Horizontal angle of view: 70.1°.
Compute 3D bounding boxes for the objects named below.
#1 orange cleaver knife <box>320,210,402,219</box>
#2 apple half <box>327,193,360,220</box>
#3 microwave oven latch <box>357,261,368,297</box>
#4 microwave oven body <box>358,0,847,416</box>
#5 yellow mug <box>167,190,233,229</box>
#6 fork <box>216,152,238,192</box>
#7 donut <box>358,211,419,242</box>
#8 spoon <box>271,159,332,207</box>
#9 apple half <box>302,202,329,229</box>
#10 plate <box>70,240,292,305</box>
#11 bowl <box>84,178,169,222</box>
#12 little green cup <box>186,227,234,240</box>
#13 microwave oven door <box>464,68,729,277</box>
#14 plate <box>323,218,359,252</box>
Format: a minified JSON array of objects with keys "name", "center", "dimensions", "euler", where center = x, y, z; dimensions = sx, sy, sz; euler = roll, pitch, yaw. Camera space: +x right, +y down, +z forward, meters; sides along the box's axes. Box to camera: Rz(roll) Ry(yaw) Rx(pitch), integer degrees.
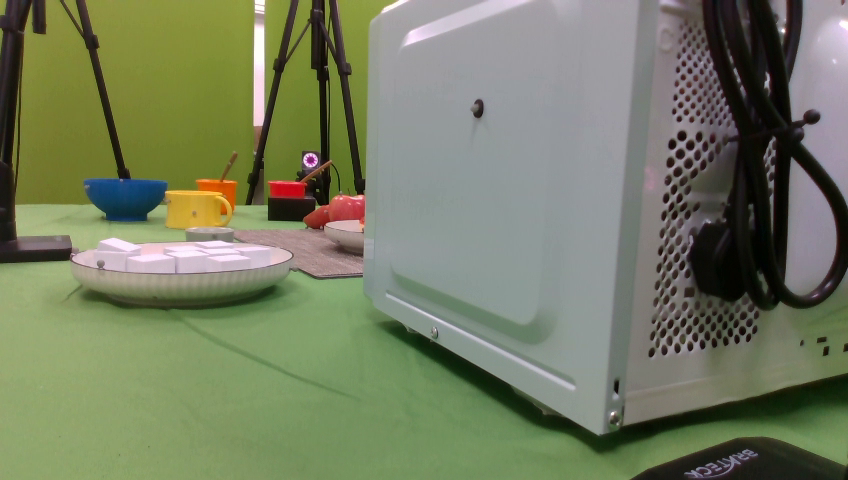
[{"name":"orange cleaver knife","center":[-0.142,-0.057,1.394],"dimensions":[0.077,0.012,0.212],"euler":[2,7,44]},{"name":"apple half","center":[-0.132,-0.046,1.087],"dimensions":[0.081,0.074,0.053],"euler":[4,11,-14]},{"name":"microwave oven latch","center":[-0.019,0.033,0.530],"dimensions":[0.079,0.029,0.030],"euler":[-1,7,-27]},{"name":"microwave oven body","center":[0.211,-0.047,0.474],"dimensions":[0.444,0.260,0.324],"euler":[-1,7,-28]},{"name":"yellow mug","center":[-0.415,-0.057,1.132],"dimensions":[0.130,0.064,0.100],"euler":[6,8,16]},{"name":"fork","center":[-0.455,-0.132,1.366],"dimensions":[0.028,0.018,0.207],"euler":[-2,-35,-37]},{"name":"donut","center":[-0.056,-0.020,0.955],"dimensions":[0.099,0.048,0.099],"euler":[4,7,0]},{"name":"spoon","center":[-0.307,-0.142,1.514],"dimensions":[0.193,0.021,0.041],"euler":[-41,4,8]},{"name":"apple half","center":[-0.192,-0.043,1.169],"dimensions":[0.081,0.032,0.081],"euler":[-24,-13,-5]},{"name":"plate","center":[-0.241,0.031,0.618],"dimensions":[0.208,0.039,0.207],"euler":[2,7,0]},{"name":"bowl","center":[-0.584,-0.078,1.193],"dimensions":[0.151,0.077,0.151],"euler":[3,8,0]},{"name":"little green cup","center":[-0.284,0.005,0.805],"dimensions":[0.061,0.038,0.061],"euler":[2,8,0]},{"name":"microwave oven door","center":[0.207,-0.096,0.813],"dimensions":[0.354,0.243,0.039],"euler":[9,11,41]},{"name":"plate","center":[-0.052,-0.006,0.938],"dimensions":[0.209,0.038,0.209],"euler":[3,8,0]}]
